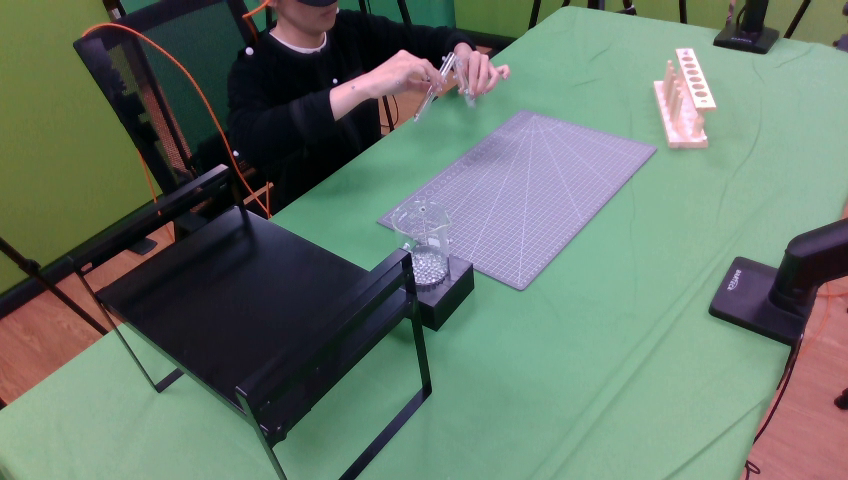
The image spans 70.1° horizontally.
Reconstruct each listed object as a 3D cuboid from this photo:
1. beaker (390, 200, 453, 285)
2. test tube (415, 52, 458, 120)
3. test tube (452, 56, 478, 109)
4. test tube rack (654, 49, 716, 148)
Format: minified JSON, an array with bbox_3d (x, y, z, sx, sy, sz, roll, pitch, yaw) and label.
[{"bbox_3d":[0.002,0.006,0.831,0.084,0.101,0.074,5,42,13],"label":"beaker"},{"bbox_3d":[0.021,-0.260,1.019,0.017,0.017,0.150,16,65,25],"label":"test tube"},{"bbox_3d":[0.078,-0.288,1.118,0.017,0.151,0.017,-6,67,16],"label":"test tube"},{"bbox_3d":[0.502,-0.281,1.176,0.066,0.085,0.241,2,41,11],"label":"test tube rack"}]
